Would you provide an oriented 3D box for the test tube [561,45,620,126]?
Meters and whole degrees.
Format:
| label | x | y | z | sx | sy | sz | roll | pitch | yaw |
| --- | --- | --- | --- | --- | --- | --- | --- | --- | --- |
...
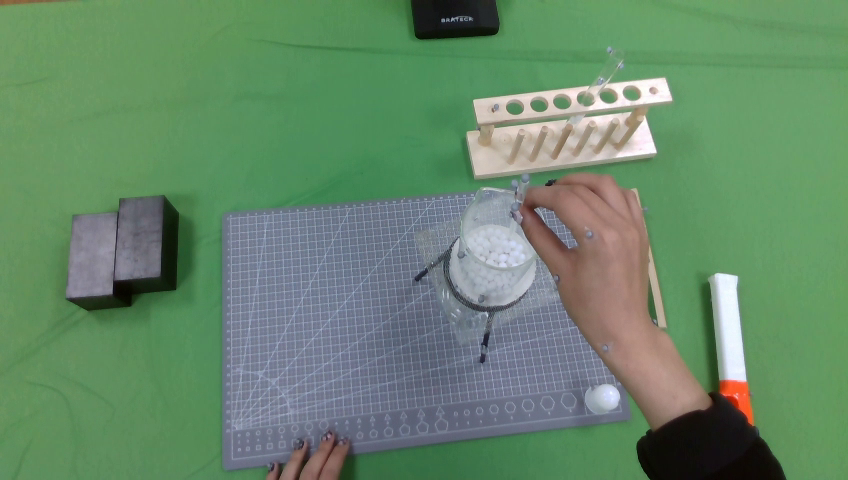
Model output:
| label | x | y | z | sx | sy | sz | roll | pitch | yaw |
| --- | --- | --- | --- | --- | --- | --- | --- | --- | --- |
| test tube | 0.196 | -0.180 | 0.726 | 0.017 | 0.151 | 0.017 | 3 | 68 | -8 |

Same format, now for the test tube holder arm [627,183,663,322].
| label | x | y | z | sx | sy | sz | roll | pitch | yaw |
| --- | --- | --- | --- | --- | --- | --- | --- | --- | --- |
| test tube holder arm | 0.272 | 0.014 | 0.748 | 0.013 | 0.015 | 0.177 | -16 | 69 | 26 |

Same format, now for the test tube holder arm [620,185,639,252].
| label | x | y | z | sx | sy | sz | roll | pitch | yaw |
| --- | --- | --- | --- | --- | --- | --- | --- | --- | --- |
| test tube holder arm | 0.262 | -0.027 | 0.764 | 0.010 | 0.015 | 0.087 | -16 | 69 | 26 |

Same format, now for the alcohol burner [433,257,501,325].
| label | x | y | z | sx | sy | sz | roll | pitch | yaw |
| --- | --- | --- | --- | --- | --- | --- | --- | --- | --- |
| alcohol burner | 0.049 | 0.051 | 0.669 | 0.078 | 0.120 | 0.077 | 1 | 68 | -2 |

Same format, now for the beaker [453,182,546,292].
| label | x | y | z | sx | sy | sz | roll | pitch | yaw |
| --- | --- | --- | --- | --- | --- | --- | --- | --- | --- |
| beaker | 0.063 | 0.002 | 0.556 | 0.074 | 0.101 | 0.083 | -20 | 71 | -8 |

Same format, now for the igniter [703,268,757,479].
| label | x | y | z | sx | sy | sz | roll | pitch | yaw |
| --- | --- | --- | --- | --- | --- | --- | --- | --- | --- |
| igniter | 0.347 | 0.165 | 0.693 | 0.057 | 0.025 | 0.274 | 8 | 70 | -10 |

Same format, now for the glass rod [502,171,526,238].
| label | x | y | z | sx | sy | sz | roll | pitch | yaw |
| --- | --- | --- | --- | --- | --- | --- | --- | --- | --- |
| glass rod | 0.072 | -0.024 | 0.500 | 0.008 | 0.200 | 0.008 | -1 | 79 | 4 |

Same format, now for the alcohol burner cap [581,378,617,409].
| label | x | y | z | sx | sy | sz | roll | pitch | yaw |
| --- | --- | --- | --- | --- | --- | --- | --- | --- | --- |
| alcohol burner cap | 0.196 | 0.168 | 0.673 | 0.034 | 0.048 | 0.033 | 1 | 69 | -3 |

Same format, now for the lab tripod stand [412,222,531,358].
| label | x | y | z | sx | sy | sz | roll | pitch | yaw |
| --- | --- | --- | --- | --- | --- | --- | --- | --- | --- |
| lab tripod stand | 0.055 | 0.045 | 0.661 | 0.148 | 0.132 | 0.147 | 0 | 71 | -1 |

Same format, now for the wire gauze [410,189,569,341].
| label | x | y | z | sx | sy | sz | roll | pitch | yaw |
| --- | --- | --- | --- | --- | --- | --- | --- | --- | --- |
| wire gauze | 0.063 | 0.020 | 0.600 | 0.121 | 0.011 | 0.124 | -22 | 74 | -7 |

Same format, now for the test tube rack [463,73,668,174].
| label | x | y | z | sx | sy | sz | roll | pitch | yaw |
| --- | --- | --- | --- | --- | --- | --- | --- | --- | --- |
| test tube rack | 0.177 | -0.146 | 0.765 | 0.243 | 0.085 | 0.066 | -8 | 70 | -6 |
